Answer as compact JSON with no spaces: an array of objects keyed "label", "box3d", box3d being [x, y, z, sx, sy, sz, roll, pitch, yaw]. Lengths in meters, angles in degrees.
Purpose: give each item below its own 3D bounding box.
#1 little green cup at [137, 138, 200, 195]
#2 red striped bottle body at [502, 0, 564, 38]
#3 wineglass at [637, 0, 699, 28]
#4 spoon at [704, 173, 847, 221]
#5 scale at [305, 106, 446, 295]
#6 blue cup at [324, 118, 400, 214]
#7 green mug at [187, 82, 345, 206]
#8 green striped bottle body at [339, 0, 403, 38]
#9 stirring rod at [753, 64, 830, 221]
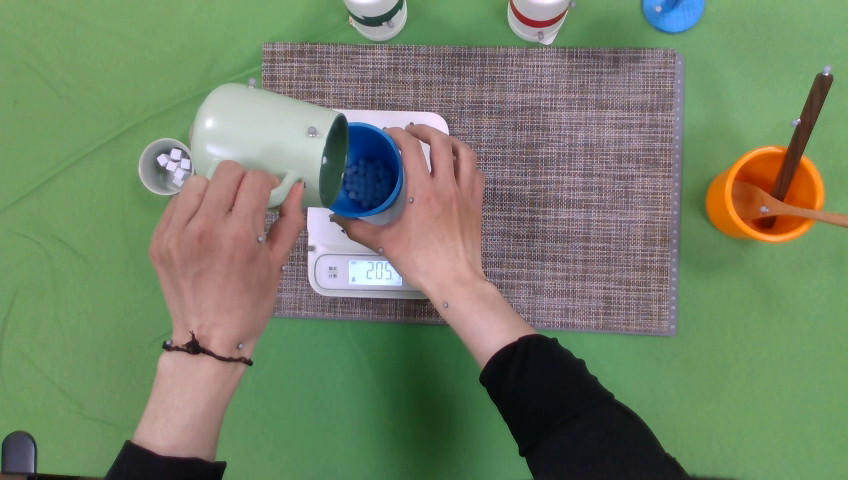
[{"label":"little green cup","box3d":[-0.274,-0.078,0.661,0.061,0.038,0.061,0,89,3]},{"label":"red striped bottle body","box3d":[0.112,-0.252,0.601,0.063,0.120,0.063,0,88,4]},{"label":"wineglass","box3d":[0.255,-0.263,0.566,0.073,0.172,0.073,0,87,5]},{"label":"spoon","box3d":[0.358,-0.030,0.566,0.022,0.192,0.041,10,98,-39]},{"label":"scale","box3d":[-0.052,-0.042,0.646,0.148,0.031,0.200,1,89,4]},{"label":"blue cup","box3d":[-0.061,-0.064,0.582,0.092,0.100,0.092,0,90,2]},{"label":"green mug","box3d":[-0.129,-0.066,0.480,0.105,0.124,0.093,11,128,5]},{"label":"green striped bottle body","box3d":[-0.058,-0.255,0.612,0.063,0.119,0.063,0,88,4]},{"label":"stirring rod","box3d":[0.341,-0.083,0.568,0.014,0.178,0.006,11,48,18]}]
